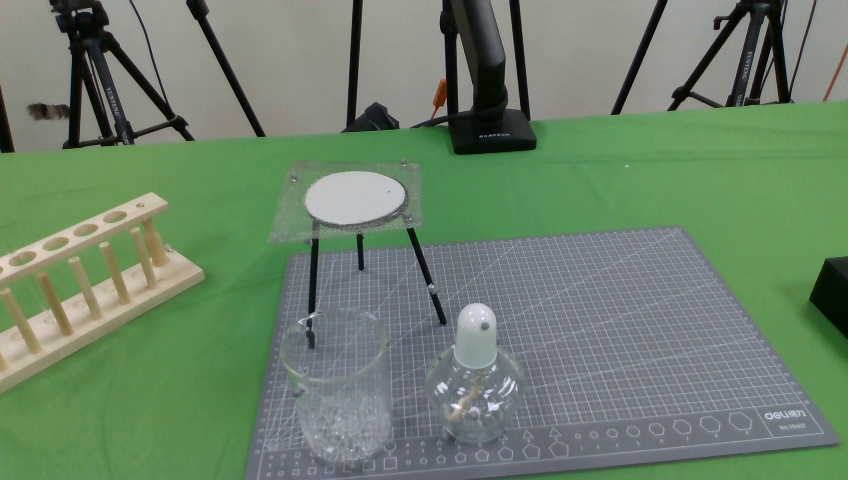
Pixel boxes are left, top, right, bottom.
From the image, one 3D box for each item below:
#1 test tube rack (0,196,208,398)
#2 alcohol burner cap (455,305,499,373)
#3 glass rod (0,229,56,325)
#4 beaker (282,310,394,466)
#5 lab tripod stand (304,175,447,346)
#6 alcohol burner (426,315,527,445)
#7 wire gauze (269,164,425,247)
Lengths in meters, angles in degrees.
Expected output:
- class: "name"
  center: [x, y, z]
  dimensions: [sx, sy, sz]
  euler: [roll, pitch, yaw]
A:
- class: "test tube rack"
  center: [-0.338, 0.053, 0.572]
  dimensions: [0.066, 0.086, 0.242]
  euler: [26, 44, 34]
- class: "alcohol burner cap"
  center: [0.039, 0.068, 0.434]
  dimensions: [0.034, 0.048, 0.033]
  euler: [0, 37, 0]
- class: "glass rod"
  center: [-0.375, -0.001, 0.536]
  dimensions: [0.008, 0.201, 0.008]
  euler: [-6, 33, 4]
- class: "beaker"
  center: [-0.062, 0.112, 0.453]
  dimensions: [0.083, 0.101, 0.074]
  euler: [24, 43, 33]
- class: "lab tripod stand"
  center: [-0.050, 0.017, 0.557]
  dimensions: [0.148, 0.132, 0.147]
  euler: [0, 34, 1]
- class: "alcohol burner"
  center: [0.040, 0.097, 0.455]
  dimensions: [0.078, 0.120, 0.077]
  euler: [-1, 37, 1]
- class: "wire gauze"
  center: [-0.061, -0.035, 0.516]
  dimensions: [0.121, 0.011, 0.124]
  euler: [-2, 36, -1]
